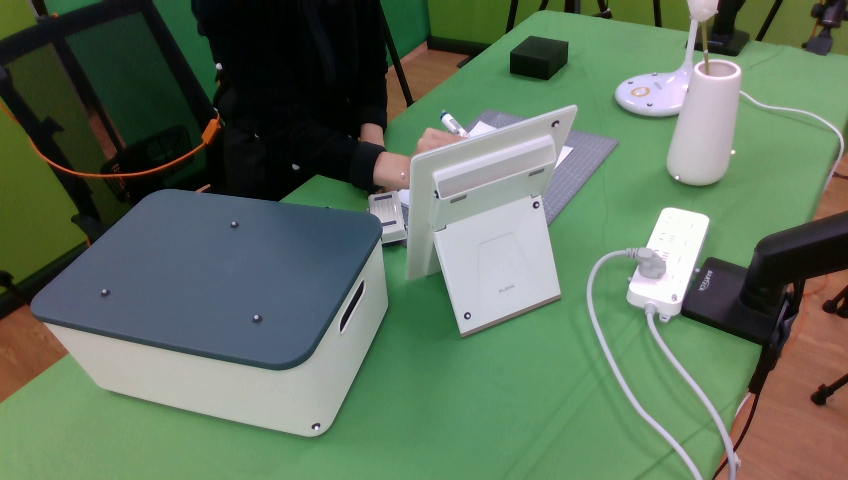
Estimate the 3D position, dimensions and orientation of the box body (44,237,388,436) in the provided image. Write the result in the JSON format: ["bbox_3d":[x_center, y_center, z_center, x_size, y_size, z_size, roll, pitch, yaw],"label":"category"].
[{"bbox_3d":[-0.251,0.088,0.799,0.362,0.161,0.254,7,42,16],"label":"box body"}]

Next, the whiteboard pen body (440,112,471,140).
[{"bbox_3d":[0.067,-0.128,0.823,0.017,0.017,0.140,-27,62,-22],"label":"whiteboard pen body"}]

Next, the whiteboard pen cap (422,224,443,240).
[{"bbox_3d":[0.013,-0.013,0.988,0.033,0.018,0.018,-30,46,-21],"label":"whiteboard pen cap"}]

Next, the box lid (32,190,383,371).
[{"bbox_3d":[-0.257,0.032,0.750,0.370,0.015,0.263,7,41,16],"label":"box lid"}]

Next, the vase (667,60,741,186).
[{"bbox_3d":[0.463,-0.189,0.995,0.098,0.201,0.097,-4,40,3],"label":"vase"}]

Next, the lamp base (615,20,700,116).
[{"bbox_3d":[0.484,-0.364,1.211,0.180,0.181,0.159,-15,41,-14],"label":"lamp base"}]

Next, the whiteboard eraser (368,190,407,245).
[{"bbox_3d":[-0.061,-0.035,1.006,0.056,0.042,0.112,-9,40,-3],"label":"whiteboard eraser"}]

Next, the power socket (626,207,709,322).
[{"bbox_3d":[0.360,0.026,0.886,0.072,0.033,0.227,17,46,27],"label":"power socket"}]

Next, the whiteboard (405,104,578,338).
[{"bbox_3d":[0.102,0.003,0.787,0.218,0.306,0.143,-19,62,-13],"label":"whiteboard"}]

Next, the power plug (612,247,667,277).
[{"bbox_3d":[0.306,0.031,0.852,0.072,0.053,0.035,21,48,37],"label":"power plug"}]

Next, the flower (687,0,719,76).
[{"bbox_3d":[0.436,-0.242,0.934,0.038,0.364,0.043,-24,49,8],"label":"flower"}]
